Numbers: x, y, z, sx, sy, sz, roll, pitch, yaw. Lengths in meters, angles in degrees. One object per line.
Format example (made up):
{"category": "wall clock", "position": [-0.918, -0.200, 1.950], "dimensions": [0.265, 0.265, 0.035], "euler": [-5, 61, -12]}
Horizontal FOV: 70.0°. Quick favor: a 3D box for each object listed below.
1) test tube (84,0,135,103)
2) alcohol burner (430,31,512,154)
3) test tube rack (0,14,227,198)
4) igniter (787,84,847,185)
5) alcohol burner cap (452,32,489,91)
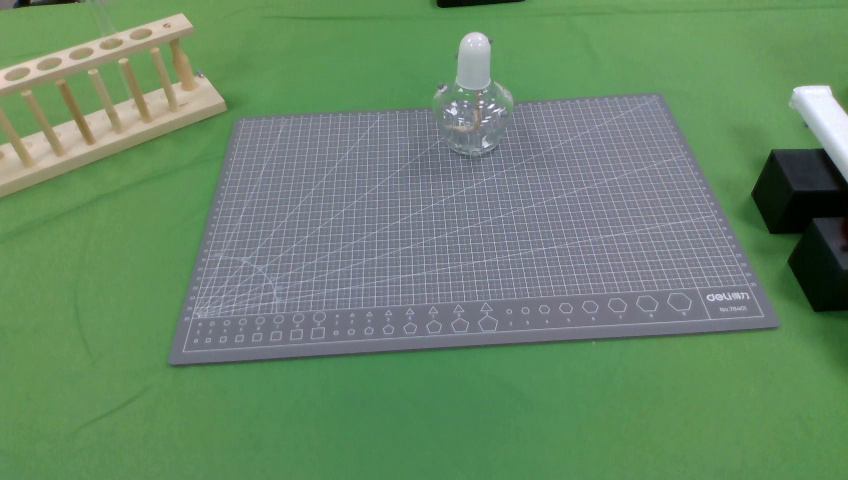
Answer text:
{"category": "test tube", "position": [-0.307, -0.199, 0.588], "dimensions": [0.017, 0.151, 0.017], "euler": [-1, 45, 1]}
{"category": "alcohol burner", "position": [0.044, -0.139, 0.561], "dimensions": [0.078, 0.120, 0.077], "euler": [0, 49, 1]}
{"category": "test tube rack", "position": [-0.332, -0.134, 0.598], "dimensions": [0.242, 0.086, 0.066], "euler": [-28, 52, -21]}
{"category": "igniter", "position": [0.338, -0.035, 0.451], "dimensions": [0.057, 0.025, 0.274], "euler": [-2, 46, 5]}
{"category": "alcohol burner cap", "position": [0.043, -0.161, 0.539], "dimensions": [0.034, 0.048, 0.033], "euler": [1, 47, 0]}
